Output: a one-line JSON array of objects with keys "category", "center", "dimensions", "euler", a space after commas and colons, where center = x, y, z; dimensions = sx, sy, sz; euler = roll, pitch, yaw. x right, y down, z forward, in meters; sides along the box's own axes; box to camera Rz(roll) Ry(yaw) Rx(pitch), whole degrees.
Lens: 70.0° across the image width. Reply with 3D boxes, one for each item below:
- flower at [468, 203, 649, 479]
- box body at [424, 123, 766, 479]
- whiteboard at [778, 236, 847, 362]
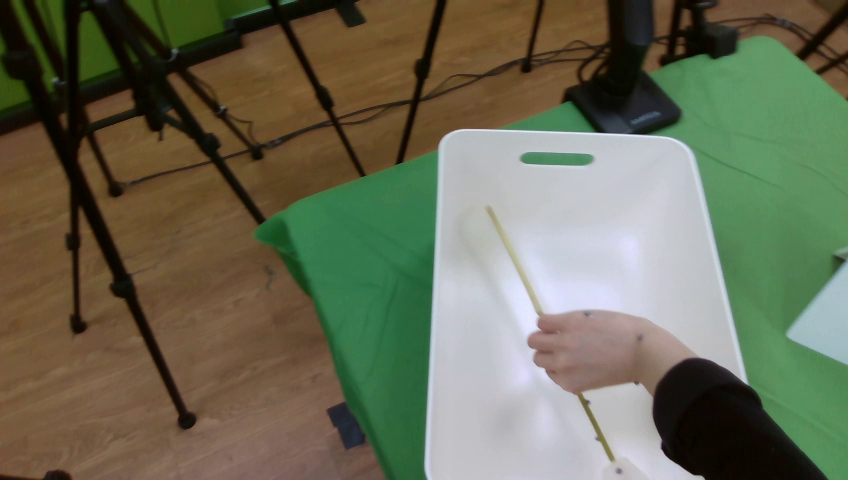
[{"category": "flower", "center": [0.125, 0.104, 0.619], "dimensions": [0.038, 0.044, 0.358], "euler": [5, 50, -49]}, {"category": "box body", "center": [0.131, 0.076, 0.594], "dimensions": [0.254, 0.162, 0.360], "euler": [2, 58, 0]}, {"category": "whiteboard", "center": [0.550, -0.004, 0.607], "dimensions": [0.216, 0.307, 0.143], "euler": [26, 42, 15]}]
